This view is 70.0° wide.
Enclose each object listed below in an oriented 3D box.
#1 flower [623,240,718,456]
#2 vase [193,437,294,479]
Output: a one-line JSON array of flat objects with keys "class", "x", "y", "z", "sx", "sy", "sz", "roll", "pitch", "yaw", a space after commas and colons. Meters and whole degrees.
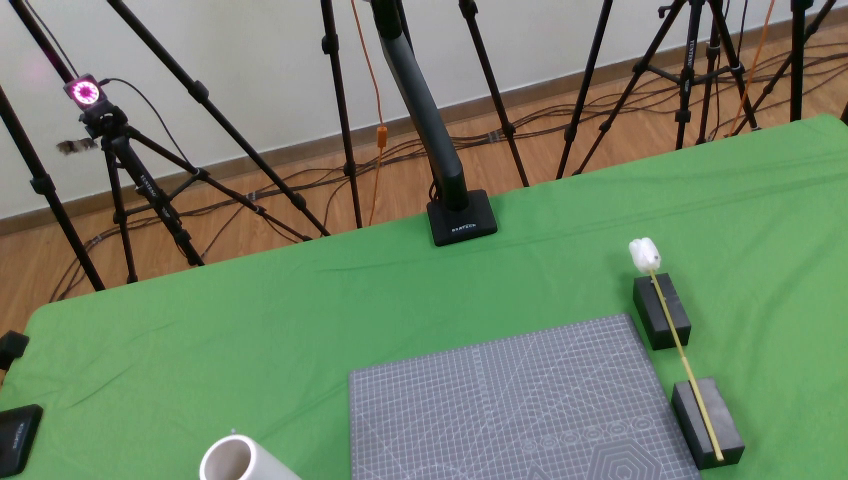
[{"class": "flower", "x": 0.340, "y": 0.131, "z": 0.843, "sx": 0.044, "sy": 0.038, "sz": 0.358, "roll": 14, "pitch": 42, "yaw": -14}, {"class": "vase", "x": -0.206, "y": 0.318, "z": 0.748, "sx": 0.098, "sy": 0.202, "sz": 0.097, "roll": -6, "pitch": 46, "yaw": 7}]
